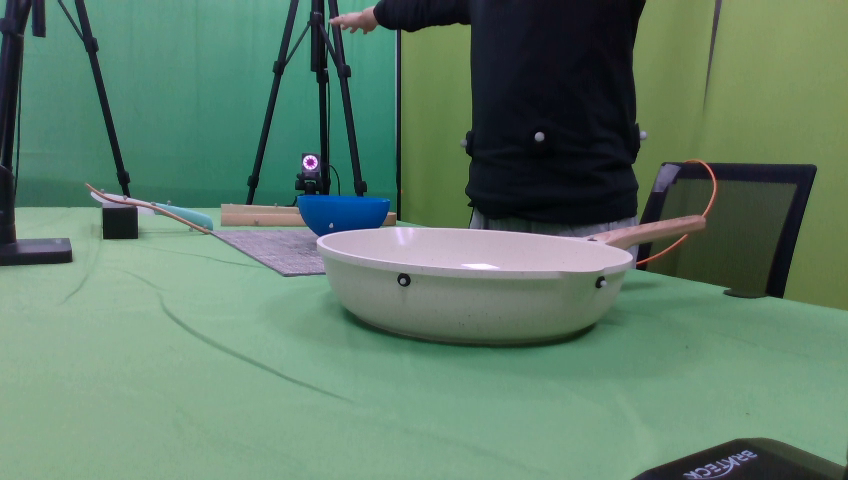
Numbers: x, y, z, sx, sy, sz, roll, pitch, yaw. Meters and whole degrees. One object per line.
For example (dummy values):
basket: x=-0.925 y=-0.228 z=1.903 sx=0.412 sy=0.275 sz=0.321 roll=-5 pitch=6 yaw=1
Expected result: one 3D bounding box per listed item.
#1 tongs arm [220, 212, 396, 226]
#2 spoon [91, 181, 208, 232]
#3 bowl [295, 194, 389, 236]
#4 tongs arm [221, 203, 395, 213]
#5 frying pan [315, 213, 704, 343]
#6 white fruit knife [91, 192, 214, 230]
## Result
tongs arm: x=-0.233 y=-0.046 z=1.292 sx=0.389 sy=0.028 sz=0.028 roll=-1 pitch=6 yaw=-27
spoon: x=-0.461 y=-0.053 z=1.023 sx=0.195 sy=0.021 sz=0.041 roll=21 pitch=22 yaw=-24
bowl: x=-0.132 y=-0.032 z=0.980 sx=0.151 sy=0.077 sz=0.151 roll=2 pitch=7 yaw=0
tongs arm: x=-0.258 y=-0.061 z=1.368 sx=0.386 sy=0.026 sz=0.050 roll=2 pitch=8 yaw=-14
frying pan: x=0.133 y=0.014 z=0.629 sx=0.490 sy=0.102 sz=0.305 roll=-11 pitch=14 yaw=-29
white fruit knife: x=-0.477 y=-0.055 z=1.077 sx=0.208 sy=0.027 sz=0.016 roll=15 pitch=-5 yaw=-30
